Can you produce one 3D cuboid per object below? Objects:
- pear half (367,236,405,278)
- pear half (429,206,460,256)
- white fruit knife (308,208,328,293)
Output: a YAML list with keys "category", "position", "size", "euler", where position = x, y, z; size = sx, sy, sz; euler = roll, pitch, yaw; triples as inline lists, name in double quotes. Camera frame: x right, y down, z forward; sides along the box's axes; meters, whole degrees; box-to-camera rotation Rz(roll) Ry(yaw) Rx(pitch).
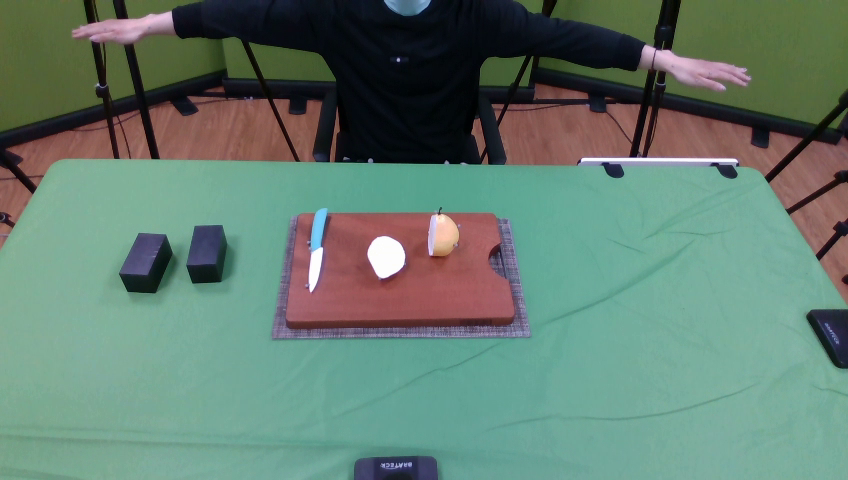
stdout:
- category: "pear half"
  position: [-0.072, 0.036, 1.106]
  size: [0.070, 0.031, 0.087]
  euler: [18, 59, -7]
- category: "pear half"
  position: [0.039, -0.021, 1.117]
  size: [0.056, 0.110, 0.076]
  euler: [-5, 50, -9]
- category: "white fruit knife"
  position: [-0.201, 0.016, 1.128]
  size: [0.027, 0.016, 0.206]
  euler: [-9, 47, 8]
